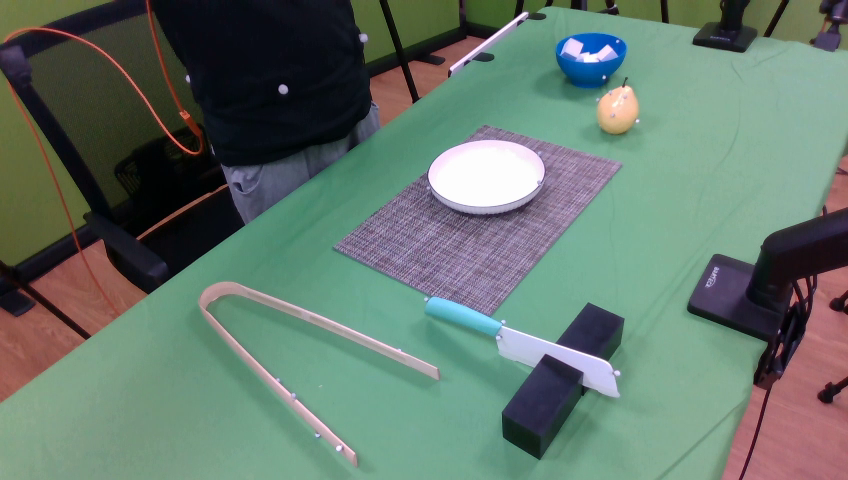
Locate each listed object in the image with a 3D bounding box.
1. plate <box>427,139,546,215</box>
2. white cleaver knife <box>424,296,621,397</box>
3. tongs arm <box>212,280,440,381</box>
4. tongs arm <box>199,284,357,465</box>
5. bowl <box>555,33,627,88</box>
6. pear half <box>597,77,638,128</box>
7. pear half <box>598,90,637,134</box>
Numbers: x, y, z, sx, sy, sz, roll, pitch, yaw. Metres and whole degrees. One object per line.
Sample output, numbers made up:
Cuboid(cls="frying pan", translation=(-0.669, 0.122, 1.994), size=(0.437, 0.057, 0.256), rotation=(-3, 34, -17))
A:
Cuboid(cls="plate", translation=(0.109, -0.107, 1.058), size=(0.207, 0.039, 0.206), rotation=(-4, 40, 4))
Cuboid(cls="white cleaver knife", translation=(0.110, 0.132, 0.761), size=(0.284, 0.066, 0.021), rotation=(17, 42, 39))
Cuboid(cls="tongs arm", translation=(-0.148, 0.121, 0.845), size=(0.385, 0.028, 0.028), rotation=(17, 48, 25))
Cuboid(cls="tongs arm", translation=(-0.199, 0.162, 0.797), size=(0.381, 0.026, 0.051), rotation=(28, 50, 35))
Cuboid(cls="bowl", translation=(0.360, -0.384, 1.318), size=(0.151, 0.077, 0.150), rotation=(-4, 41, 4))
Cuboid(cls="pear half", translation=(0.374, -0.266, 1.155), size=(0.076, 0.110, 0.056), rotation=(10, 43, 4))
Cuboid(cls="pear half", translation=(0.365, -0.235, 1.137), size=(0.070, 0.088, 0.031), rotation=(10, 43, 5))
